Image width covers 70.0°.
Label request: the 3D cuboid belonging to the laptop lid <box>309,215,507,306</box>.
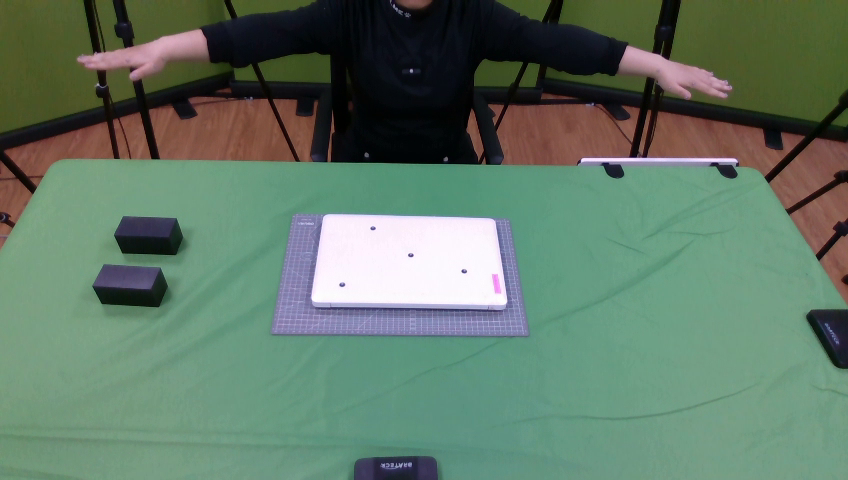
[{"bbox_3d":[-0.028,0.033,1.149,0.357,0.013,0.240,3,44,-2],"label":"laptop lid"}]

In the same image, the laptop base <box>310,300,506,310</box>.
[{"bbox_3d":[-0.029,0.043,1.156,0.354,0.023,0.234,1,43,-3],"label":"laptop base"}]
